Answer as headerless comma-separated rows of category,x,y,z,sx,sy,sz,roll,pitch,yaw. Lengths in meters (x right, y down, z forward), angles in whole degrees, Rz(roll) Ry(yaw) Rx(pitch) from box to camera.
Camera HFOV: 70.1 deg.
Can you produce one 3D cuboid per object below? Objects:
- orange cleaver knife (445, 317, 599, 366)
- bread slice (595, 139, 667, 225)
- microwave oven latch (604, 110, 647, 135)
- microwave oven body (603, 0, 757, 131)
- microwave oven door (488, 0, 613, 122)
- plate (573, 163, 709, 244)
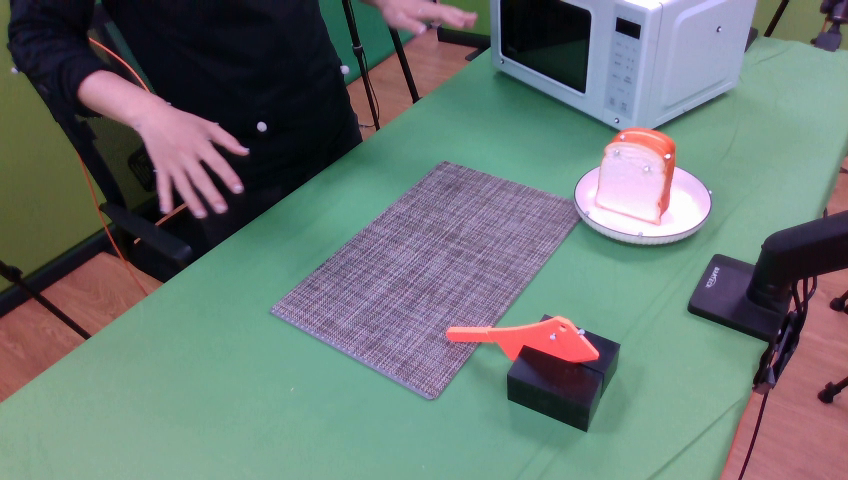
orange cleaver knife,0.115,0.129,0.751,0.210,0.077,0.012,-11,30,45
bread slice,0.320,-0.093,0.936,0.106,0.135,0.018,17,44,31
microwave oven latch,0.378,-0.225,1.139,0.030,0.029,0.078,-27,44,-20
microwave oven body,0.396,-0.448,1.248,0.327,0.261,0.437,-27,44,-21
microwave oven door,0.250,-0.412,1.219,0.039,0.245,0.352,-27,44,-21
plate,0.347,-0.059,0.979,0.207,0.039,0.206,-4,41,4
